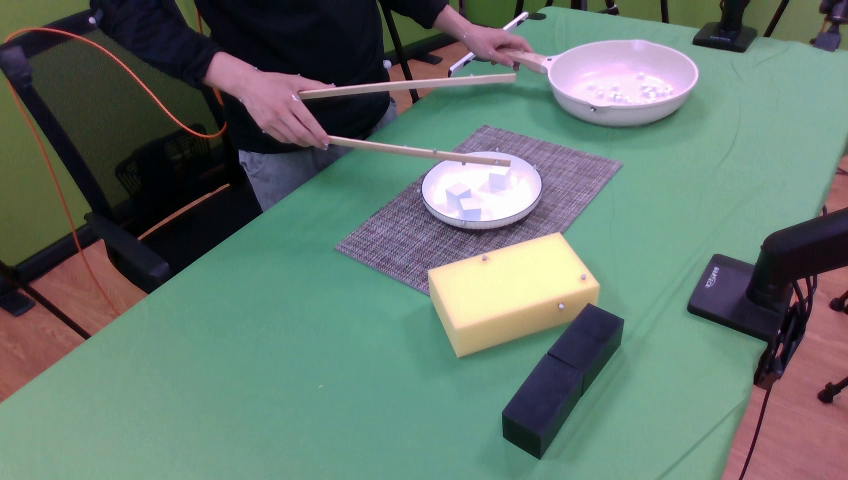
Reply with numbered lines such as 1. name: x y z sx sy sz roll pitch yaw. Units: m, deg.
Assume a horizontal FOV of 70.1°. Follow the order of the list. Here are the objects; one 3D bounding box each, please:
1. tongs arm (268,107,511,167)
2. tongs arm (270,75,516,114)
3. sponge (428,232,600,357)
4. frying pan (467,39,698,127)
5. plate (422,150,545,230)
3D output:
1. tongs arm: -0.056 -0.159 0.931 0.384 0.026 0.050 7 77 7
2. tongs arm: -0.050 -0.233 0.951 0.387 0.028 0.028 -5 80 3
3. sponge: 0.120 0.071 0.834 0.207 0.061 0.117 -15 43 -12
4. frying pan: 0.312 -0.359 1.277 0.485 0.103 0.307 23 48 19
5. plate: 0.101 -0.082 1.031 0.207 0.039 0.206 -4 40 4
